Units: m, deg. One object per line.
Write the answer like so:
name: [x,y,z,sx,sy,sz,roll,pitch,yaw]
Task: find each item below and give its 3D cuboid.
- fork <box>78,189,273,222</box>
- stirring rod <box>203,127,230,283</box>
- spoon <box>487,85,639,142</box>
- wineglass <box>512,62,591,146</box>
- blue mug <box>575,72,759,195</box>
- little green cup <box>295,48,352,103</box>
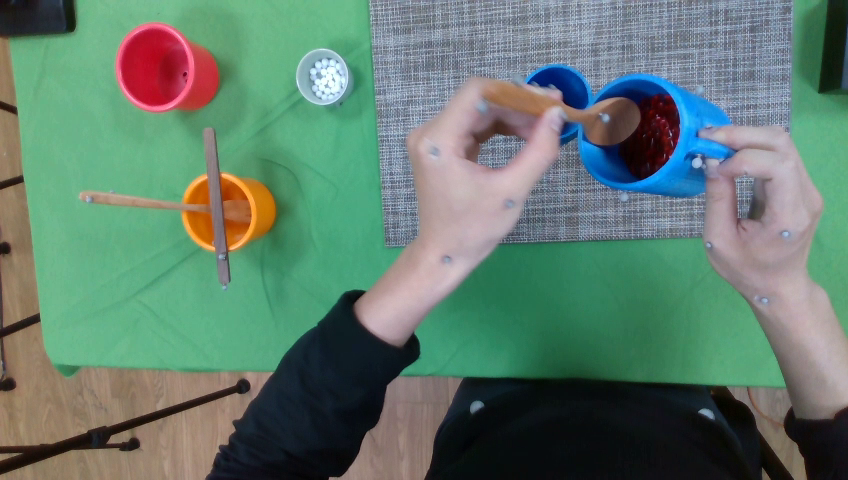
fork: [-0.276,-0.040,0.692,0.209,0.018,0.028,4,108,-35]
stirring rod: [-0.234,-0.039,0.683,0.014,0.006,0.176,-2,97,11]
spoon: [0.099,-0.085,0.400,0.021,0.194,0.042,52,122,20]
wineglass: [0.123,-0.129,0.598,0.073,0.172,0.074,1,97,10]
blue mug: [0.191,-0.074,0.458,0.115,0.106,0.082,24,107,40]
little green cup: [-0.114,-0.187,0.701,0.061,0.038,0.061,1,98,10]
